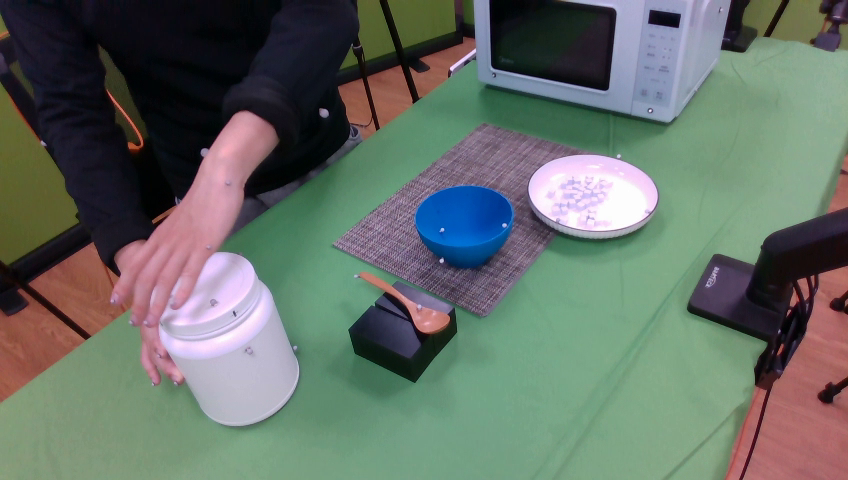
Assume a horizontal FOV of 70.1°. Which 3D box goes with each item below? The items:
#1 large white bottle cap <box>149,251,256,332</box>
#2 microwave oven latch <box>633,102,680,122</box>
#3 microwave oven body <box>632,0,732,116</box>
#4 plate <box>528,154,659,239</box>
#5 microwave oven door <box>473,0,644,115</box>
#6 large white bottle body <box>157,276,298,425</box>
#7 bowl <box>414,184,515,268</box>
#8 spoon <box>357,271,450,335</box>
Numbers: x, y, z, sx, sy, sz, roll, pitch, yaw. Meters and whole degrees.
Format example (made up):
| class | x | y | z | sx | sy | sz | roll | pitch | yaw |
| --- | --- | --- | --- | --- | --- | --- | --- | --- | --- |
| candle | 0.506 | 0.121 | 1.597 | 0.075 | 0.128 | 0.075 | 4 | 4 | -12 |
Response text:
| class | x | y | z | sx | sy | sz | roll | pitch | yaw |
| --- | --- | --- | --- | --- | --- | --- | --- | --- | --- |
| large white bottle cap | -0.247 | 0.056 | 0.678 | 0.115 | 0.018 | 0.114 | -4 | 40 | 4 |
| microwave oven latch | 0.444 | -0.249 | 1.157 | 0.078 | 0.029 | 0.030 | 21 | 49 | 30 |
| microwave oven body | 0.377 | -0.462 | 1.267 | 0.438 | 0.261 | 0.327 | 21 | 48 | 30 |
| plate | 0.274 | -0.069 | 0.993 | 0.209 | 0.038 | 0.208 | -2 | 42 | 2 |
| microwave oven door | 0.257 | -0.396 | 1.199 | 0.353 | 0.245 | 0.039 | 21 | 48 | 29 |
| large white bottle body | -0.237 | 0.121 | 0.733 | 0.130 | 0.185 | 0.130 | -4 | 40 | 4 |
| bowl | 0.063 | -0.010 | 0.923 | 0.151 | 0.077 | 0.150 | -4 | 40 | 4 |
| spoon | -0.034 | 0.078 | 0.812 | 0.042 | 0.022 | 0.192 | -37 | 43 | -22 |
